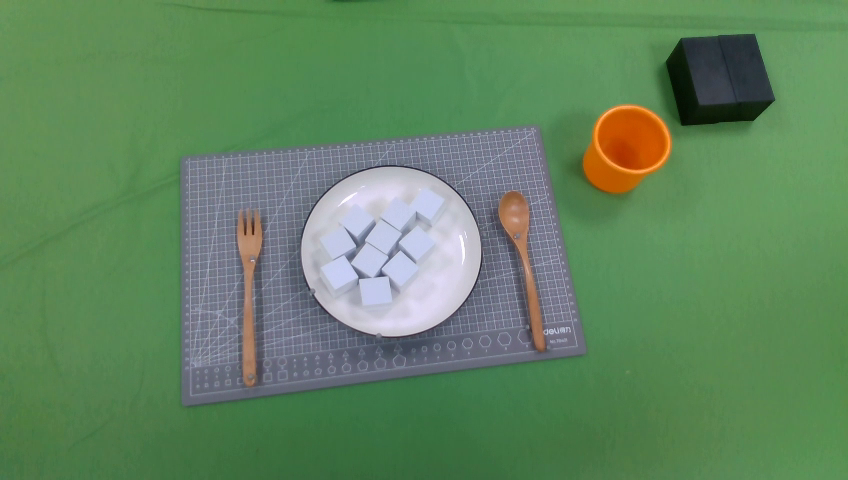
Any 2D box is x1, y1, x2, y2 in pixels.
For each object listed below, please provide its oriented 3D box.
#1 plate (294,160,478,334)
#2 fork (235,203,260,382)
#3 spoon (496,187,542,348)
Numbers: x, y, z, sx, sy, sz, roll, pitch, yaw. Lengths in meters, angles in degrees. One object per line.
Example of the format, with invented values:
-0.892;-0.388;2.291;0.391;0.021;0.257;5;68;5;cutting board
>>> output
-0.043;0.008;0.701;0.208;0.039;0.206;1;72;-3;plate
-0.200;0.056;0.686;0.028;0.019;0.206;-2;70;-10;fork
0.116;0.030;0.709;0.042;0.022;0.192;-1;71;-21;spoon
